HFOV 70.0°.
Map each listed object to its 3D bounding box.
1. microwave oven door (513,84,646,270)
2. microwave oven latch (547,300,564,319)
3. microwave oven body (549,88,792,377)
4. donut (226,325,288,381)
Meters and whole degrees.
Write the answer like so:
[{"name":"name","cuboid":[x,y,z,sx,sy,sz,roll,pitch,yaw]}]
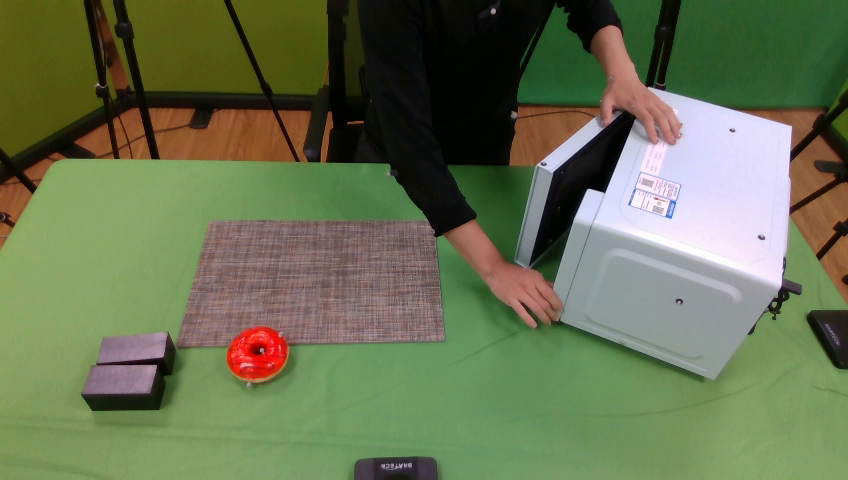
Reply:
[{"name":"microwave oven door","cuboid":[0.303,-0.126,1.165,0.039,0.245,0.355,33,53,25]},{"name":"microwave oven latch","cuboid":[0.242,0.102,1.081,0.030,0.029,0.079,21,48,17]},{"name":"microwave oven body","cuboid":[0.456,-0.028,1.088,0.325,0.261,0.440,20,47,16]},{"name":"donut","cuboid":[-0.270,0.182,0.984,0.099,0.048,0.098,5,49,-5]}]
